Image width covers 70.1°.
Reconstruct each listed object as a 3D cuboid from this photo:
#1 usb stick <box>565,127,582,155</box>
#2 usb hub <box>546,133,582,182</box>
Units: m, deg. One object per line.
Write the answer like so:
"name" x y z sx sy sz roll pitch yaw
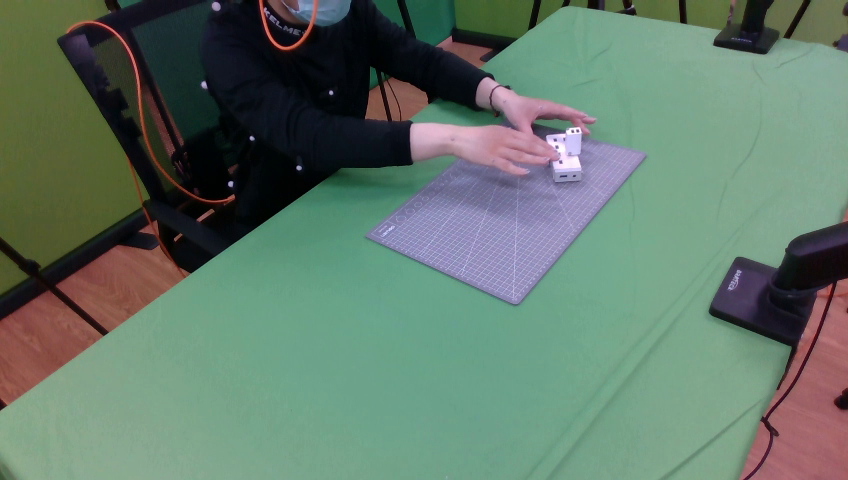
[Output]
"usb stick" 0.266 -0.170 1.077 0.027 0.059 0.021 -3 41 2
"usb hub" 0.255 -0.152 1.103 0.049 0.025 0.124 -3 41 5
